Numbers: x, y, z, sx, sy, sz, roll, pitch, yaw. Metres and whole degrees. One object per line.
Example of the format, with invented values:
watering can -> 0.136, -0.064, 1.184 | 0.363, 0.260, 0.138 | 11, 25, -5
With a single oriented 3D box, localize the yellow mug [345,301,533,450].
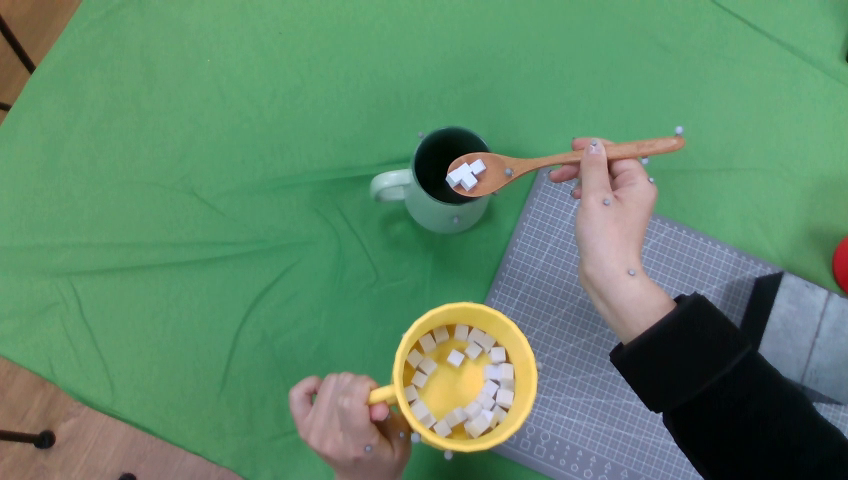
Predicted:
yellow mug -> 0.008, 0.104, 0.438 | 0.131, 0.064, 0.099 | -12, 73, -8

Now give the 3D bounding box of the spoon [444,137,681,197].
spoon -> 0.107, -0.064, 0.498 | 0.193, 0.022, 0.041 | -5, 75, 28

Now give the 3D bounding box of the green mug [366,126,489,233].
green mug -> 0.005, -0.056, 0.604 | 0.125, 0.105, 0.092 | -8, 81, -5
